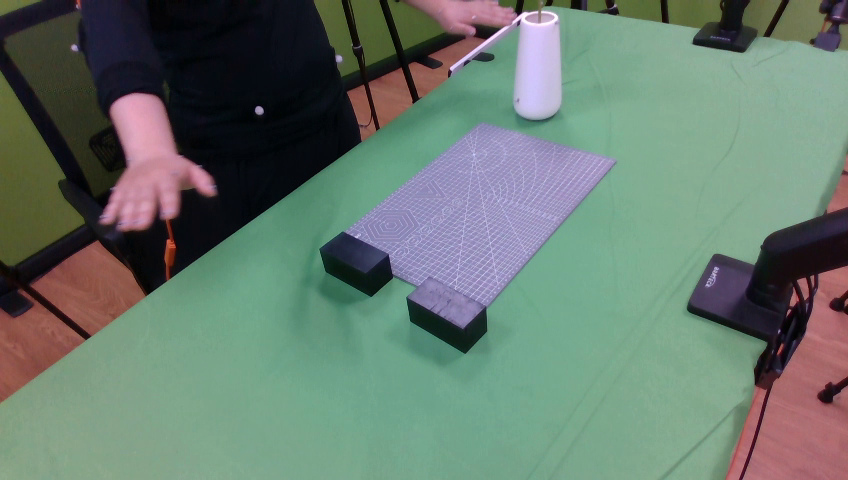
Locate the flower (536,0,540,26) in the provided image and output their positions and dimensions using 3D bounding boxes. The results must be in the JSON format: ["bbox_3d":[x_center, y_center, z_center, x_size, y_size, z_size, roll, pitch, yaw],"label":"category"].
[{"bbox_3d":[0.213,-0.386,1.130,0.044,0.363,0.038,11,62,14],"label":"flower"}]

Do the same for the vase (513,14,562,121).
[{"bbox_3d":[0.225,-0.336,1.196,0.098,0.201,0.097,-5,42,5],"label":"vase"}]
